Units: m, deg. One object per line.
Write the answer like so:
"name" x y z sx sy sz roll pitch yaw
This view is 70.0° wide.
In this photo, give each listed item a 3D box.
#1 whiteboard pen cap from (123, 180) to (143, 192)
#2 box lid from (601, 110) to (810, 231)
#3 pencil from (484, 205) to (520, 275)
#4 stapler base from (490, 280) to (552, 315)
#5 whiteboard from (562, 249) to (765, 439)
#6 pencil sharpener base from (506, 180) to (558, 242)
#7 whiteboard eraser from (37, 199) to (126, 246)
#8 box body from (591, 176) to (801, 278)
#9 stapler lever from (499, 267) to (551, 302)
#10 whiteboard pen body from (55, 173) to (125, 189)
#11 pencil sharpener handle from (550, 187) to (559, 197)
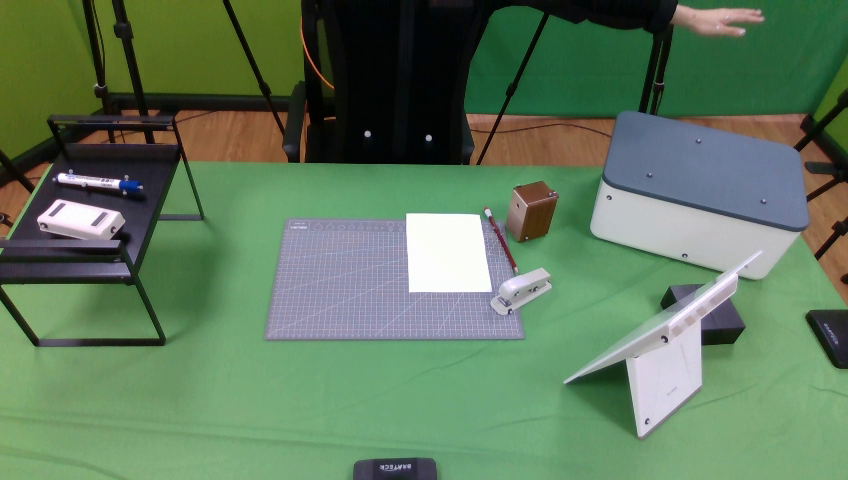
"whiteboard pen cap" -0.479 -0.089 0.993 0.033 0.018 0.018 7 46 14
"box lid" 0.545 -0.144 1.176 0.371 0.015 0.262 15 47 12
"pencil" 0.156 -0.002 1.218 0.012 0.012 0.192 -10 48 -13
"stapler base" 0.181 0.094 1.118 0.130 0.024 0.041 -24 56 -29
"whiteboard" 0.386 0.176 0.905 0.217 0.306 0.143 -26 72 -26
"pencil sharpener base" 0.216 -0.059 1.211 0.077 0.107 0.061 -16 49 -19
"whiteboard eraser" -0.518 -0.025 0.918 0.112 0.042 0.055 12 49 7
"box body" 0.540 -0.092 1.230 0.363 0.161 0.253 16 47 11
"stapler lever" 0.185 0.076 1.101 0.118 0.040 0.026 -25 56 -29
"whiteboard pen body" -0.539 -0.095 0.998 0.141 0.017 0.017 6 46 6
"pencil sharpener handle" 0.261 -0.085 1.222 0.031 0.068 0.036 -16 71 -19
